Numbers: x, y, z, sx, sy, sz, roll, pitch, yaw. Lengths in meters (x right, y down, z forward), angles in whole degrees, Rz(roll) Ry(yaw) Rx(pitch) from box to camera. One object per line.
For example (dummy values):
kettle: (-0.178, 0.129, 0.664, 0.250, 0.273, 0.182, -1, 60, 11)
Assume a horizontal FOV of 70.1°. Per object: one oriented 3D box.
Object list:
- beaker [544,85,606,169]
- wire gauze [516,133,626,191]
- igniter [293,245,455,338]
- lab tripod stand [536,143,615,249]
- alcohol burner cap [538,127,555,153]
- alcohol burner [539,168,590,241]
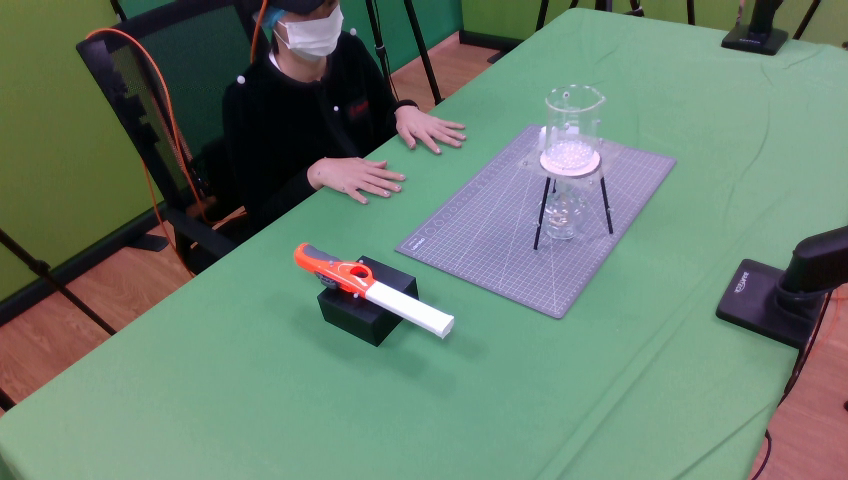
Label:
beaker: (0.212, -0.158, 0.861, 0.084, 0.101, 0.073, -3, 41, 6)
wire gauze: (0.217, -0.122, 0.893, 0.124, 0.011, 0.122, 20, 47, 32)
igniter: (-0.079, 0.065, 0.833, 0.274, 0.025, 0.057, 23, 48, 27)
lab tripod stand: (0.224, -0.069, 0.931, 0.148, 0.132, 0.147, -4, 42, 4)
alcohol burner cap: (0.234, -0.191, 1.147, 0.034, 0.048, 0.033, -5, 40, 5)
alcohol burner: (0.217, -0.059, 0.935, 0.078, 0.119, 0.077, -6, 40, 6)
